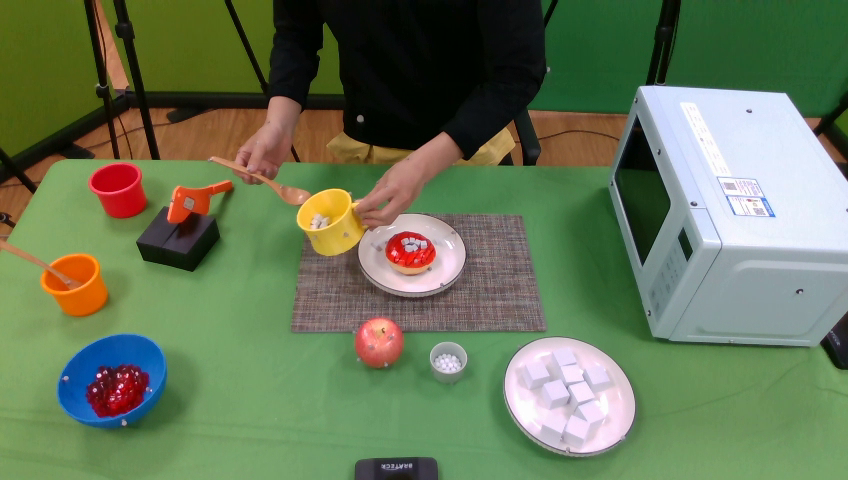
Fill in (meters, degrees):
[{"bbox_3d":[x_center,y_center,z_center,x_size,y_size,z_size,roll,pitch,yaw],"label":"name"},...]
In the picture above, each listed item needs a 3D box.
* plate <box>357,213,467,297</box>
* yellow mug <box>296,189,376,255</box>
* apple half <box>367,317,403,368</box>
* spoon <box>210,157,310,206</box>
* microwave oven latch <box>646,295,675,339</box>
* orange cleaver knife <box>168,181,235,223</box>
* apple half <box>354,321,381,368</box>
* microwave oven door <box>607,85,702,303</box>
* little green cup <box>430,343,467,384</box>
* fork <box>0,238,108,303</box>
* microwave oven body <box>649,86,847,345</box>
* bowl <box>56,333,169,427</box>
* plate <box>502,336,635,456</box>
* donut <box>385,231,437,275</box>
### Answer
[{"bbox_3d":[-0.023,0.031,1.149,0.209,0.038,0.208,2,46,-2],"label":"plate"},{"bbox_3d":[-0.146,-0.034,1.038,0.131,0.064,0.099,-12,45,11],"label":"yellow mug"},{"bbox_3d":[-0.061,0.167,0.998,0.053,0.075,0.080,-11,44,-20],"label":"apple half"},{"bbox_3d":[-0.295,-0.109,1.086,0.194,0.022,0.041,27,51,0],"label":"spoon"},{"bbox_3d":[0.412,0.134,1.061,0.030,0.029,0.078,4,45,1],"label":"microwave oven latch"},{"bbox_3d":[-0.436,-0.077,1.196,0.012,0.077,0.211,16,15,10],"label":"orange cleaver knife"},{"bbox_3d":[-0.097,0.176,0.985,0.033,0.081,0.080,-12,48,-20],"label":"apple half"},{"bbox_3d":[0.423,-0.094,1.140,0.039,0.245,0.353,2,46,-1],"label":"microwave oven door"},{"bbox_3d":[0.039,0.203,0.994,0.061,0.039,0.061,2,46,-2],"label":"little green cup"},{"bbox_3d":[-0.633,0.048,1.017,0.208,0.018,0.028,40,41,-27],"label":"fork"},{"bbox_3d":[0.568,-0.053,1.118,0.326,0.261,0.439,2,45,-1],"label":"microwave oven body"},{"bbox_3d":[-0.456,0.223,0.911,0.151,0.077,0.150,3,46,-2],"label":"bowl"},{"bbox_3d":[0.225,0.248,0.963,0.208,0.039,0.206,2,46,-2],"label":"plate"},{"bbox_3d":[-0.025,0.023,1.141,0.099,0.048,0.098,4,44,-3],"label":"donut"}]
